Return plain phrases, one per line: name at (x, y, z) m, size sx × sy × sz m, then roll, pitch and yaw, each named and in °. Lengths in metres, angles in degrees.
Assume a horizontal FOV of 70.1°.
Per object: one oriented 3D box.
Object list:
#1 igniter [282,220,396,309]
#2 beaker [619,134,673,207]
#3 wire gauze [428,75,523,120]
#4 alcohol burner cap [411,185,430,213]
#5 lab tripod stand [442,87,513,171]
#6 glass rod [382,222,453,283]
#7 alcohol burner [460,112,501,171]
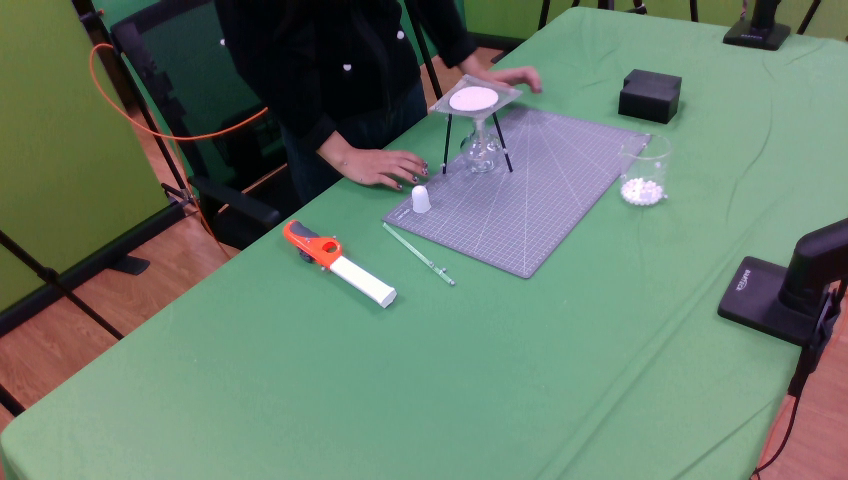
igniter at (-0.146, 0.032, 0.966) m, size 0.274 × 0.025 × 0.057 m, roll 30°, pitch 65°, yaw 37°
beaker at (0.356, -0.111, 0.986) m, size 0.084 × 0.101 × 0.073 m, roll -10°, pitch 40°, yaw 1°
wire gauze at (0.090, -0.250, 1.062) m, size 0.120 × 0.011 × 0.125 m, roll 23°, pitch 50°, yaw 30°
alcohol burner cap at (-0.008, -0.074, 1.050) m, size 0.034 × 0.048 × 0.033 m, roll -4°, pitch 41°, yaw 4°
lab tripod stand at (0.097, -0.200, 1.107) m, size 0.148 × 0.132 × 0.147 m, roll -4°, pitch 40°, yaw 4°
glass rod at (-0.014, 0.016, 0.976) m, size 0.008 × 0.008 × 0.198 m, roll -30°, pitch 44°, yaw -22°
alcohol burner at (0.103, -0.186, 1.105) m, size 0.078 × 0.119 × 0.077 m, roll -4°, pitch 42°, yaw 4°
